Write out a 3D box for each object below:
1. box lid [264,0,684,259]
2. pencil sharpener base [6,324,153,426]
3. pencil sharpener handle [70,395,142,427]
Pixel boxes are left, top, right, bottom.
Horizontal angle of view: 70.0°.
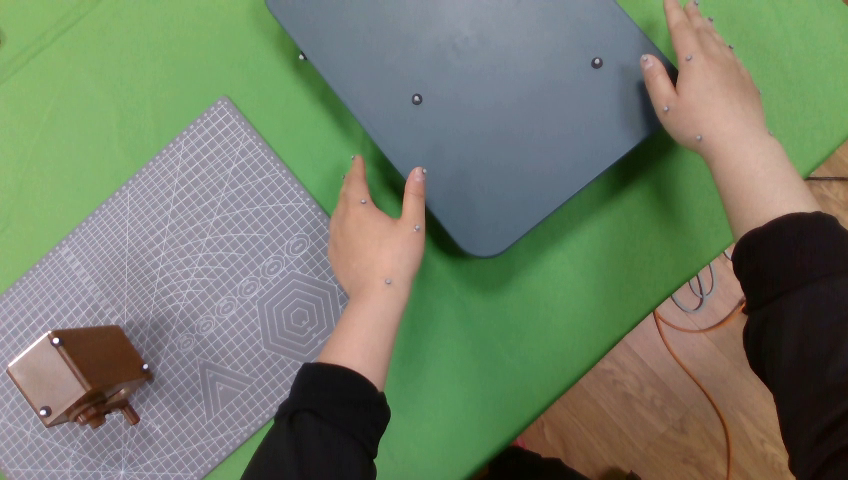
[{"bbox_3d":[0.039,-0.194,0.589,0.263,0.015,0.370,-39,83,2],"label":"box lid"},{"bbox_3d":[-0.332,0.131,0.596,0.061,0.107,0.076,-40,83,1],"label":"pencil sharpener base"},{"bbox_3d":[-0.300,0.168,0.579,0.036,0.068,0.030,-40,83,7],"label":"pencil sharpener handle"}]
